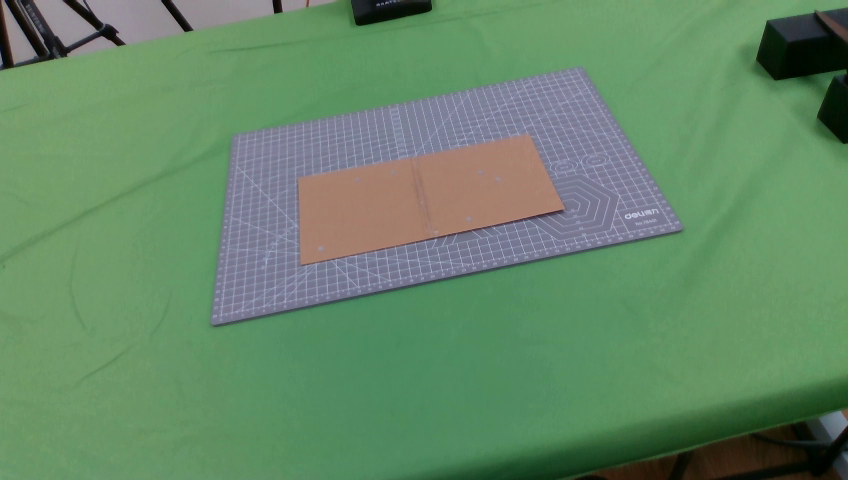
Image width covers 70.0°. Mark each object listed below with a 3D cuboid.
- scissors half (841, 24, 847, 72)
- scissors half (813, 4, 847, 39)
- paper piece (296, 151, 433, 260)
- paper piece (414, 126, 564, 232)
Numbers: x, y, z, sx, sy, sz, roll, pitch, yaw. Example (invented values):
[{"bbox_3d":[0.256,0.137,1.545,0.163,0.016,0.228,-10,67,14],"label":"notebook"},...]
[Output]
[{"bbox_3d":[0.447,-0.208,0.637,0.040,0.013,0.173,-3,46,8],"label":"scissors half"},{"bbox_3d":[0.466,-0.213,0.635,0.040,0.013,0.173,-19,45,0],"label":"scissors half"},{"bbox_3d":[-0.068,-0.042,0.641,0.138,0.009,0.134,-11,44,0],"label":"paper piece"},{"bbox_3d":[0.063,-0.070,0.643,0.135,0.004,0.134,-12,46,0],"label":"paper piece"}]
